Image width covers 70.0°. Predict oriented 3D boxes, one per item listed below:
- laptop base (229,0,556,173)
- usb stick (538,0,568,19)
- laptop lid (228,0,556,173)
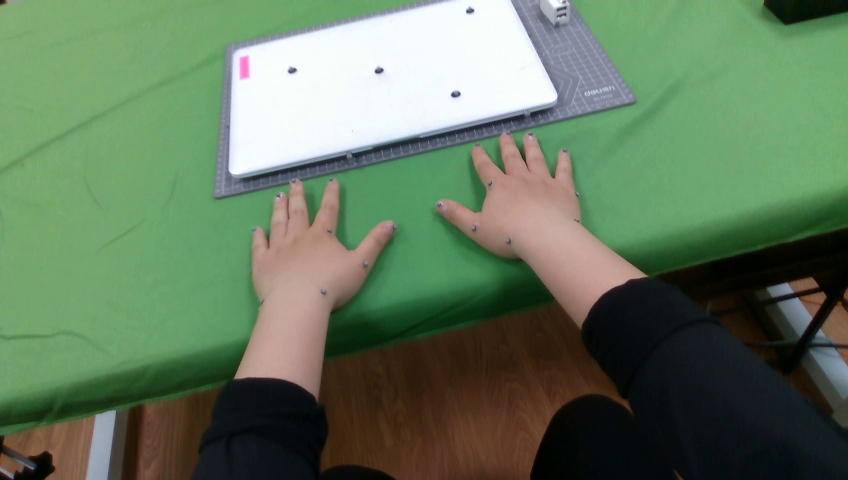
[{"bbox_3d":[-0.050,-0.191,0.703,0.354,0.023,0.233,-13,53,0],"label":"laptop base"},{"bbox_3d":[0.155,-0.297,0.743,0.021,0.027,0.058,-17,47,-3],"label":"usb stick"},{"bbox_3d":[-0.052,-0.196,0.693,0.357,0.013,0.239,-12,52,1],"label":"laptop lid"}]
